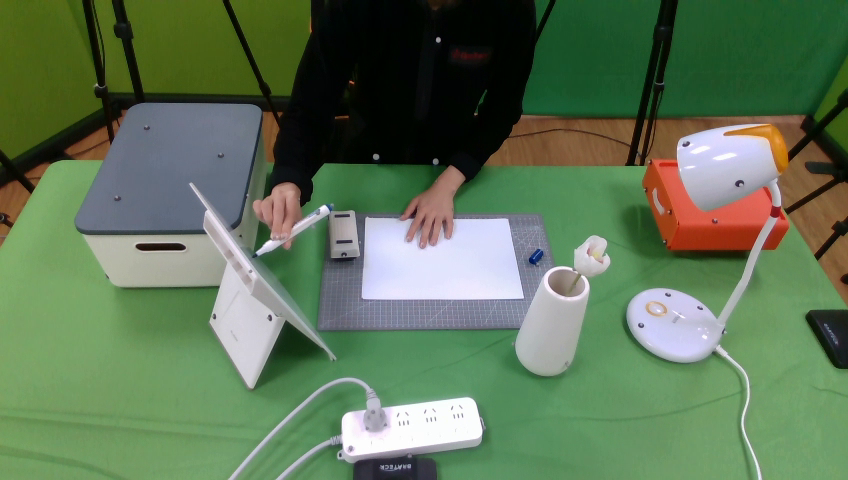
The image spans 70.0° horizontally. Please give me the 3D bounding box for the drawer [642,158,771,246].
[{"bbox_3d":[0.565,-0.076,1.211,0.212,0.073,0.193,2,45,-2],"label":"drawer"}]

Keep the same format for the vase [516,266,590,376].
[{"bbox_3d":[0.208,0.132,0.964,0.098,0.201,0.097,3,46,-3],"label":"vase"}]

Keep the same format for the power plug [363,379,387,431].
[{"bbox_3d":[-0.072,0.252,0.910,0.035,0.053,0.072,3,45,-1],"label":"power plug"}]

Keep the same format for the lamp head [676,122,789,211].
[{"bbox_3d":[0.423,-0.104,0.819,0.122,0.113,0.112,-13,33,40],"label":"lamp head"}]

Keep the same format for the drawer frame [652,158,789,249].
[{"bbox_3d":[0.571,-0.075,1.214,0.214,0.083,0.200,0,45,-1],"label":"drawer frame"}]

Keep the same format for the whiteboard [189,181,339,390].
[{"bbox_3d":[-0.292,0.096,0.929,0.144,0.307,0.216,-37,57,-10],"label":"whiteboard"}]

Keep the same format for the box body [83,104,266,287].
[{"bbox_3d":[-0.447,-0.088,1.150,0.254,0.161,0.361,-1,46,-5],"label":"box body"}]

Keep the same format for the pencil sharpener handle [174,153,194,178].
[{"bbox_3d":[-0.479,-0.156,1.225,0.036,0.068,0.030,24,48,2],"label":"pencil sharpener handle"}]

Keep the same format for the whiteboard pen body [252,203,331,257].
[{"bbox_3d":[-0.200,-0.014,0.915,0.141,0.017,0.017,-35,57,-20],"label":"whiteboard pen body"}]

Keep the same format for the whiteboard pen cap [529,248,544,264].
[{"bbox_3d":[0.219,0.032,1.183,0.018,0.018,0.033,31,51,23],"label":"whiteboard pen cap"}]

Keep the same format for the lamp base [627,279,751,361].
[{"bbox_3d":[0.459,0.100,1.027,0.178,0.181,0.160,27,51,17],"label":"lamp base"}]

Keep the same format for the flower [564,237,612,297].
[{"bbox_3d":[0.206,0.088,0.893,0.038,0.363,0.044,-16,67,-9],"label":"flower"}]

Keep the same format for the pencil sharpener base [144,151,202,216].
[{"bbox_3d":[-0.493,-0.113,1.199,0.061,0.107,0.076,15,47,11],"label":"pencil sharpener base"}]

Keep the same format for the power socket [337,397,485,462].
[{"bbox_3d":[-0.018,0.285,0.915,0.227,0.033,0.071,-5,46,-8],"label":"power socket"}]

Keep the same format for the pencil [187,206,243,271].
[{"bbox_3d":[-0.401,-0.009,1.176,0.012,0.012,0.193,15,44,10],"label":"pencil"}]

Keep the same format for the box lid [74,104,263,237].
[{"bbox_3d":[-0.443,-0.139,1.095,0.263,0.015,0.369,-1,45,-5],"label":"box lid"}]

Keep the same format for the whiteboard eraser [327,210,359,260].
[{"bbox_3d":[-0.159,-0.009,1.176,0.055,0.042,0.112,-6,47,-7],"label":"whiteboard eraser"}]
